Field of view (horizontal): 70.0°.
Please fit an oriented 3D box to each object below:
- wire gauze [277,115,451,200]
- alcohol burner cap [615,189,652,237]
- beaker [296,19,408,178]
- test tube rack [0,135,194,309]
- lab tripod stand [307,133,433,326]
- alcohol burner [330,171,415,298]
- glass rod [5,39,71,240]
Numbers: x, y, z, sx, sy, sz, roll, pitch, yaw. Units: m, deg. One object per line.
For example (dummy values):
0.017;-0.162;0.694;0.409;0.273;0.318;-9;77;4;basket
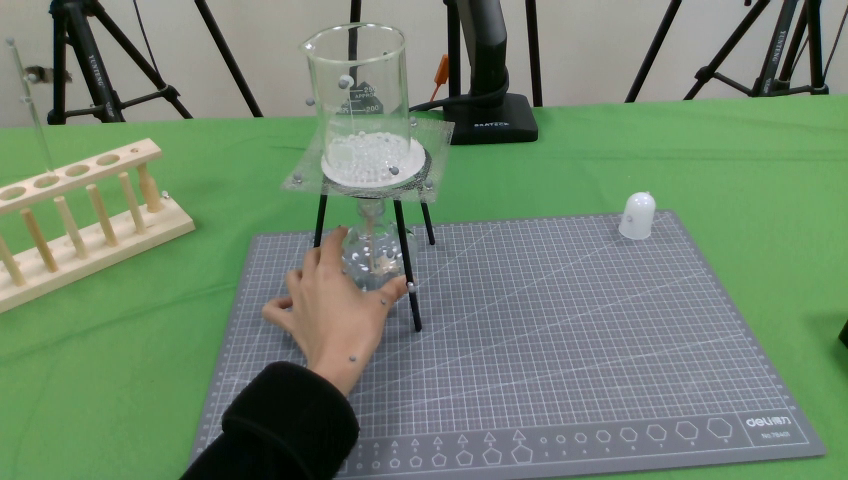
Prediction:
-0.044;-0.072;0.498;0.125;0.011;0.120;3;38;11;wire gauze
0.214;-0.030;0.615;0.034;0.048;0.033;-1;39;1;alcohol burner cap
-0.051;-0.105;0.461;0.084;0.101;0.073;8;40;12;beaker
-0.360;-0.012;0.583;0.242;0.086;0.066;-29;46;-30;test tube rack
-0.041;-0.015;0.531;0.148;0.133;0.147;-2;40;2;lab tripod stand
-0.047;-0.007;0.539;0.078;0.120;0.077;-2;37;2;alcohol burner
-0.358;-0.086;0.570;0.008;0.201;0.008;2;32;-1;glass rod
